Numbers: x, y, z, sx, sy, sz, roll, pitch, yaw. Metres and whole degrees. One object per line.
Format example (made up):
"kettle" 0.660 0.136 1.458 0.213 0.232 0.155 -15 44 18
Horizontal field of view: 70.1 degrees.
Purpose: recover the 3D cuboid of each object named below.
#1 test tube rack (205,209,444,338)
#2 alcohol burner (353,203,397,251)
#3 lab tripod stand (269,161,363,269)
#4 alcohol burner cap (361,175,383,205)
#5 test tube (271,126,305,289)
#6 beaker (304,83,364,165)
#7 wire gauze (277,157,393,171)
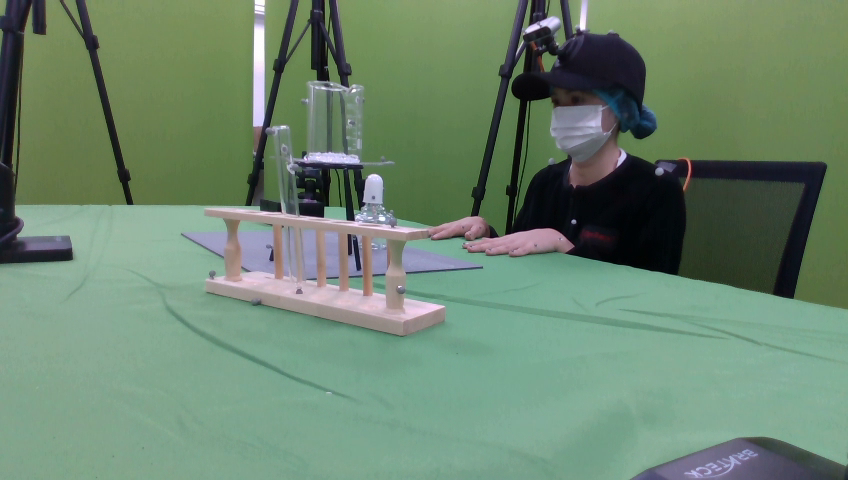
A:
"test tube rack" -0.100 0.021 0.565 0.241 0.085 0.067 7 8 32
"alcohol burner" -0.082 -0.043 0.950 0.078 0.119 0.078 1 8 0
"lab tripod stand" -0.125 -0.036 0.794 0.148 0.131 0.148 5 7 0
"alcohol burner cap" -0.080 -0.078 0.945 0.034 0.048 0.034 5 7 0
"test tube" -0.124 -0.028 0.554 0.017 0.150 0.017 -5 7 1
"beaker" -0.115 -0.148 0.779 0.074 0.100 0.083 -2 10 -30
"wire gauze" -0.122 -0.100 0.786 0.122 0.011 0.124 -5 14 -38
